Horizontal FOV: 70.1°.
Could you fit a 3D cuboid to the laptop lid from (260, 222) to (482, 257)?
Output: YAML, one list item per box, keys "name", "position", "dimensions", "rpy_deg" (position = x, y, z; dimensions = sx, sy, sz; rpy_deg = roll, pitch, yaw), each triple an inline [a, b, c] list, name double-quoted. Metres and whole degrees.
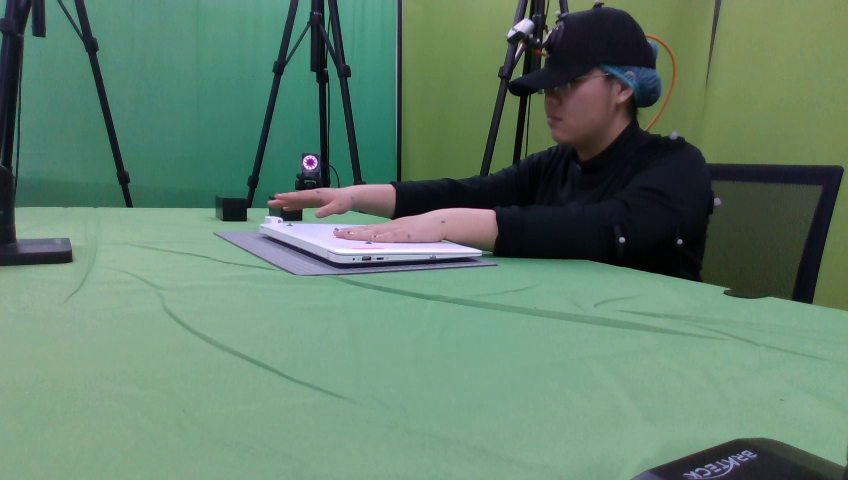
- name: "laptop lid"
  position: [-0.099, -0.004, 0.962]
  dimensions: [0.243, 0.013, 0.355]
  rpy_deg: [2, 7, -30]

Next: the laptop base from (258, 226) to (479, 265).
- name: "laptop base"
  position: [-0.102, 0.007, 0.962]
  dimensions: [0.237, 0.023, 0.352]
  rpy_deg: [2, 6, -32]

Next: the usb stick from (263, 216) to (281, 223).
- name: "usb stick"
  position: [-0.269, -0.028, 1.081]
  dimensions: [0.021, 0.027, 0.059]
  rpy_deg: [-1, 11, -29]
